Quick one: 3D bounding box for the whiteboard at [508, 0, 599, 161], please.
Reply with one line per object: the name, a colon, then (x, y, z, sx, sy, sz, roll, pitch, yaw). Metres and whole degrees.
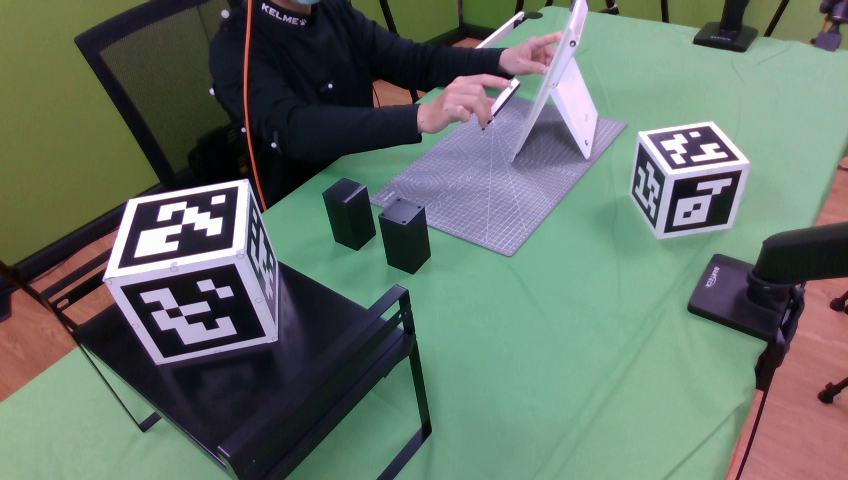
whiteboard: (0.285, -0.289, 1.089, 0.144, 0.305, 0.217, 22, 45, 3)

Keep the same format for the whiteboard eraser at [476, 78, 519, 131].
whiteboard eraser: (0.123, -0.228, 1.016, 0.019, 0.101, 0.041, 39, 27, 1)
